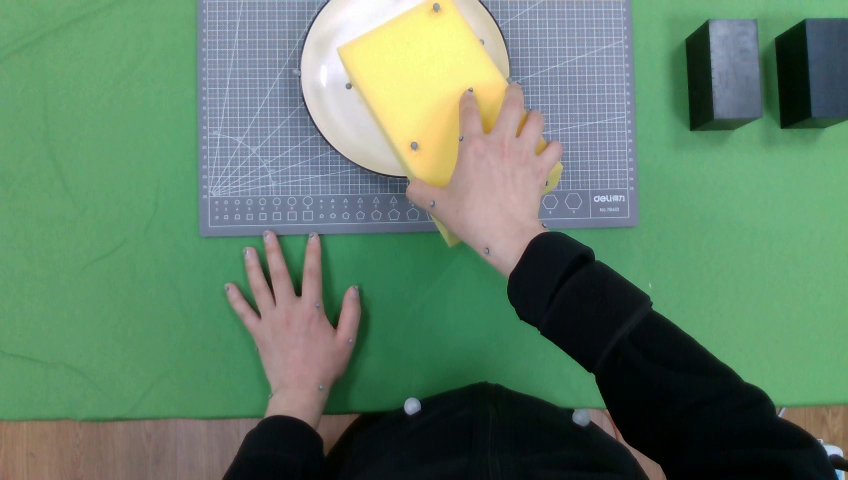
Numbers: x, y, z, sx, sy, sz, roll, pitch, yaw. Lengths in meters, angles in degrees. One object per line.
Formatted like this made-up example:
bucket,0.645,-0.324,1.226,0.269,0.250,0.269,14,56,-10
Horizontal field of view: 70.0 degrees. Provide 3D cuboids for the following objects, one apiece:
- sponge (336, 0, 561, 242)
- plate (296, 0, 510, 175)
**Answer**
sponge,0.021,-0.117,0.568,0.118,0.061,0.205,-31,76,-3
plate,-0.020,-0.166,0.609,0.209,0.038,0.209,0,87,-3
